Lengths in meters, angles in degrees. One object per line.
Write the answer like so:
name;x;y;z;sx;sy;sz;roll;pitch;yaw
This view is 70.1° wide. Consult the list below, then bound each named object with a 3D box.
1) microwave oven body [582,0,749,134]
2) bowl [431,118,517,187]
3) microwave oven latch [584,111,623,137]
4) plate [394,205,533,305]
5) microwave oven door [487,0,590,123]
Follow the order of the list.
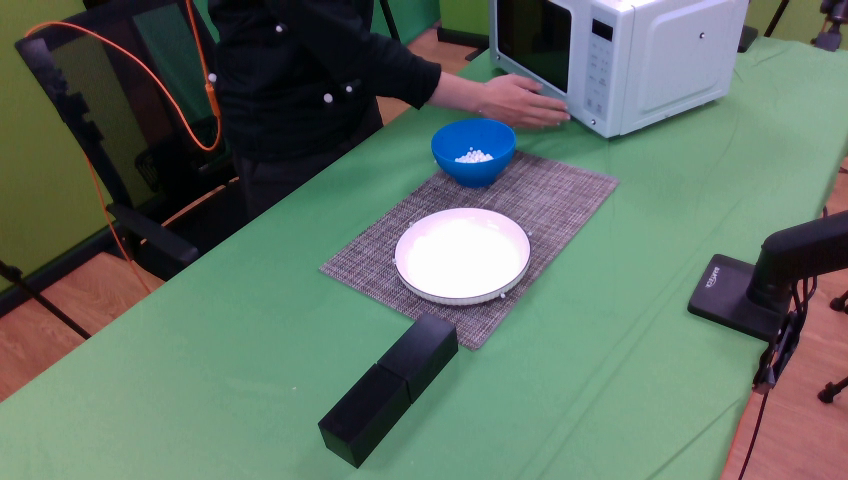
microwave oven body;0.382;-0.444;1.246;0.327;0.261;0.437;-22;42;-16
bowl;0.090;-0.147;1.080;0.151;0.077;0.150;-4;41;4
microwave oven latch;0.337;-0.222;1.142;0.030;0.029;0.078;-21;42;-14
plate;0.059;0.025;0.915;0.207;0.039;0.206;-4;41;4
microwave oven door;0.232;-0.420;1.231;0.039;0.245;0.352;-22;43;-16
